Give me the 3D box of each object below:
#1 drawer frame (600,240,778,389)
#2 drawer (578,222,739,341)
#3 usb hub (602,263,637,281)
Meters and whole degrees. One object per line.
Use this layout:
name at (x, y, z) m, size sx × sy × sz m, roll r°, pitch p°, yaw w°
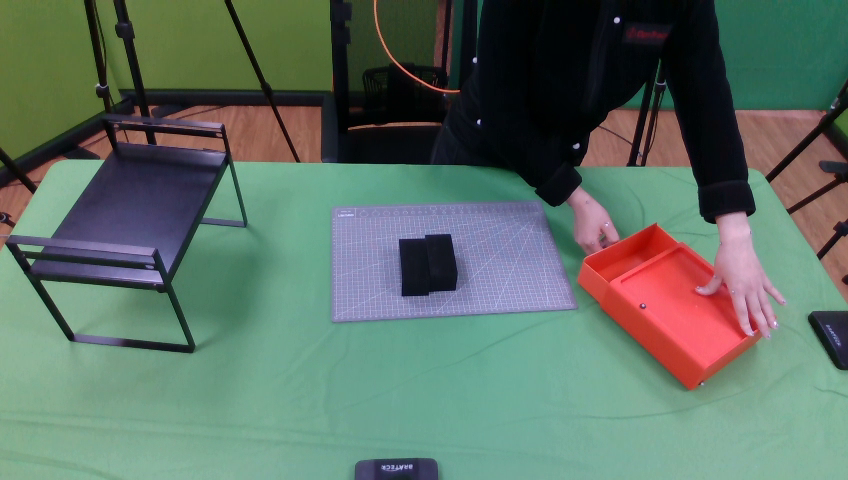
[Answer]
drawer frame at (0.460, 0.122, 1.067) m, size 0.202 × 0.083 × 0.212 m, roll -25°, pitch 53°, yaw -25°
drawer at (0.424, 0.083, 1.103) m, size 0.194 × 0.073 × 0.210 m, roll -23°, pitch 52°, yaw -24°
usb hub at (0.401, 0.069, 1.137) m, size 0.125 × 0.025 × 0.049 m, roll -9°, pitch 46°, yaw -20°
